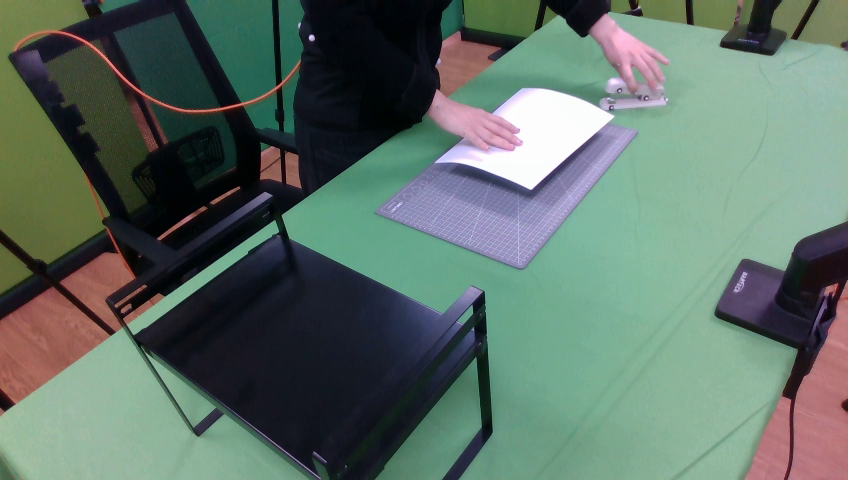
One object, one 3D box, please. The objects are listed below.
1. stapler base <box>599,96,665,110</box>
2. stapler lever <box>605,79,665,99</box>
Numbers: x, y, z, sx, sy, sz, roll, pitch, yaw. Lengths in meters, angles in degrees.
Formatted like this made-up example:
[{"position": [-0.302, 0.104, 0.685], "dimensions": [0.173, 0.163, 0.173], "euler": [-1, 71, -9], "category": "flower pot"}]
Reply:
[{"position": [0.431, -0.293, 1.251], "dimensions": [0.130, 0.024, 0.041], "euler": [-4, 45, 2], "category": "stapler base"}, {"position": [0.430, -0.311, 1.235], "dimensions": [0.118, 0.040, 0.026], "euler": [-5, 45, 3], "category": "stapler lever"}]
